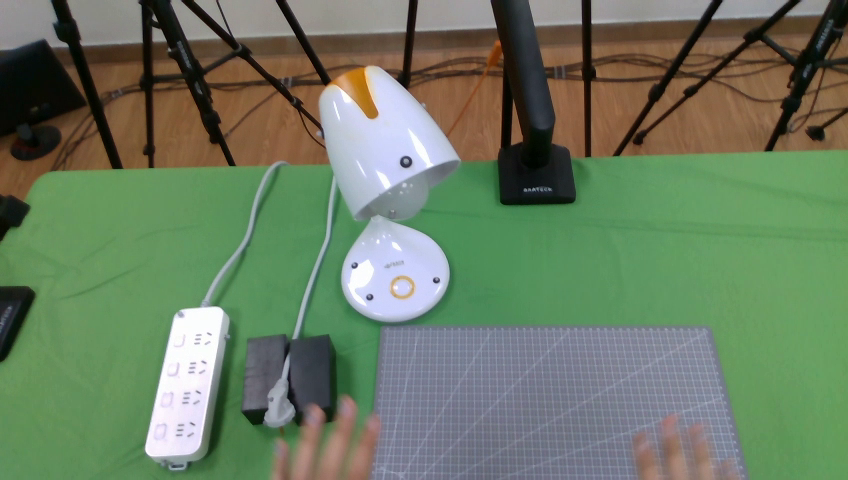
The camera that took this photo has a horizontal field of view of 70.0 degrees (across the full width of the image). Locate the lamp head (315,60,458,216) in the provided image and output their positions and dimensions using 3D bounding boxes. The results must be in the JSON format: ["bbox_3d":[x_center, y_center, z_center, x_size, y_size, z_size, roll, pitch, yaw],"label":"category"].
[{"bbox_3d":[-0.044,-0.097,0.551,0.112,0.112,0.122,-27,81,-14],"label":"lamp head"}]

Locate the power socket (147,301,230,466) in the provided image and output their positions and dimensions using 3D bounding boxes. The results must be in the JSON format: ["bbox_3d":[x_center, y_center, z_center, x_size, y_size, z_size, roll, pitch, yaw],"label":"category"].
[{"bbox_3d":[-0.310,0.181,0.807,0.072,0.033,0.224,-3,54,1],"label":"power socket"}]

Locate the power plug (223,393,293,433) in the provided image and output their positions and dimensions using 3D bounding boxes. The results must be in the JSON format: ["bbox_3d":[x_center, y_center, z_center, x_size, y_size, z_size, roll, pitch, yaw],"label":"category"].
[{"bbox_3d":[-0.193,0.211,0.722,0.072,0.053,0.035,-19,11,-3],"label":"power plug"}]

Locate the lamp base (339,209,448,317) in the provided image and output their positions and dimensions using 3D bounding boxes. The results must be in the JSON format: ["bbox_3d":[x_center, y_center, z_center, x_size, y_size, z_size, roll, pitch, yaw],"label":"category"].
[{"bbox_3d":[-0.057,-0.011,0.834,0.161,0.182,0.177,-25,54,-13],"label":"lamp base"}]
